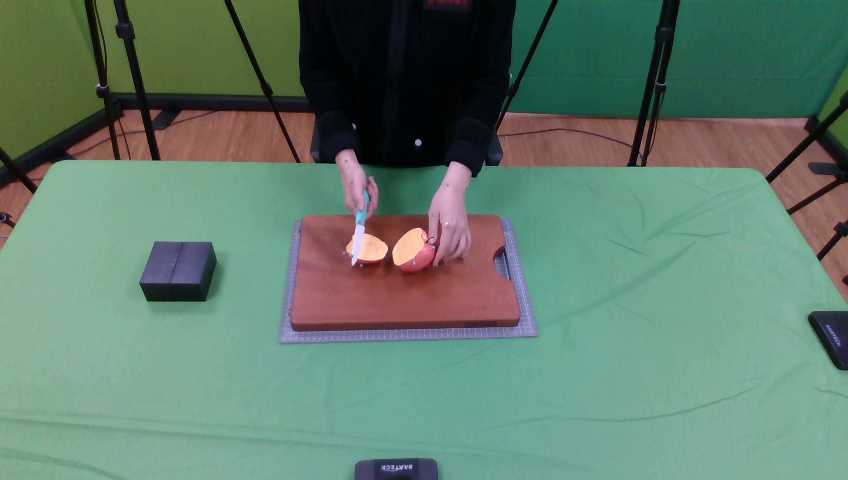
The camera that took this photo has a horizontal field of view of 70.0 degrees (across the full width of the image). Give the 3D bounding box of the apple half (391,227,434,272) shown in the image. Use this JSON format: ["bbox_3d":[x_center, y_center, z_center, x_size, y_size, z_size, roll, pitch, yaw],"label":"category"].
[{"bbox_3d":[-0.016,0.025,1.101,0.074,0.053,0.080,-38,34,15],"label":"apple half"}]

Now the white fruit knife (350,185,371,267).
[{"bbox_3d":[-0.118,-0.031,1.103,0.016,0.027,0.206,-22,41,25],"label":"white fruit knife"}]

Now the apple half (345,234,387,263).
[{"bbox_3d":[-0.109,0.024,1.120,0.081,0.033,0.081,14,36,-10],"label":"apple half"}]
